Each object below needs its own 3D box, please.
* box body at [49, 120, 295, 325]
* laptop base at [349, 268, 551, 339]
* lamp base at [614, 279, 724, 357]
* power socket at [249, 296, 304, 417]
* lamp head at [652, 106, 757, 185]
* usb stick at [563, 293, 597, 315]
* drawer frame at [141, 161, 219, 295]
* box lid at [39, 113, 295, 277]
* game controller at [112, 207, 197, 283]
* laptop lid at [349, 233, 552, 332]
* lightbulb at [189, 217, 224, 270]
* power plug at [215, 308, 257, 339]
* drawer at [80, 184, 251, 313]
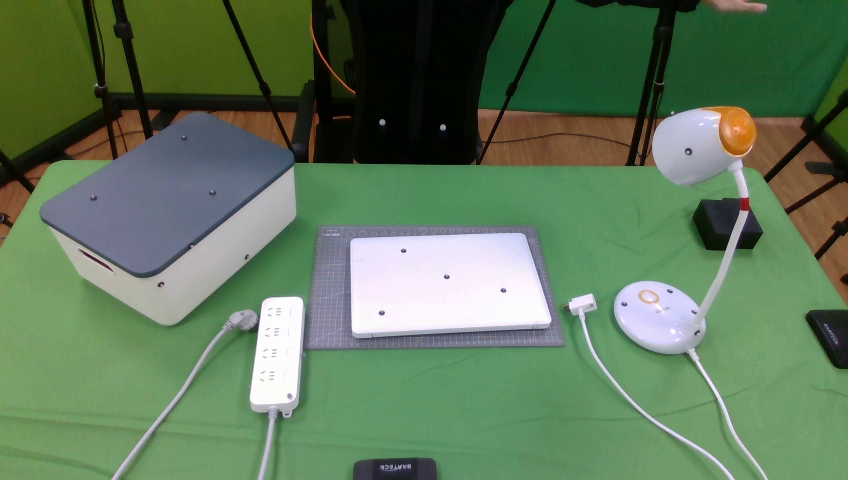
[{"bbox_3d":[-0.437,-0.046,1.110,0.253,0.161,0.363,24,49,19],"label":"box body"},{"bbox_3d":[0.039,0.080,1.125,0.355,0.023,0.234,-2,43,-6],"label":"laptop base"},{"bbox_3d":[0.436,0.090,1.034,0.161,0.181,0.178,-23,55,-23],"label":"lamp base"},{"bbox_3d":[-0.239,0.182,0.996,0.072,0.033,0.225,-2,47,-5],"label":"power socket"},{"bbox_3d":[0.410,-0.139,0.869,0.113,0.122,0.112,0,89,-19],"label":"lamp head"},{"bbox_3d":[0.280,0.118,1.093,0.059,0.021,0.027,-18,35,25],"label":"usb stick"},{"bbox_3d":[-0.435,-0.030,1.068,0.083,0.214,0.201,-11,12,-31],"label":"drawer frame"},{"bbox_3d":[-0.434,-0.096,1.056,0.262,0.015,0.370,25,48,18],"label":"box lid"},{"bbox_3d":[-0.463,0.001,1.039,0.097,0.052,0.154,3,46,5],"label":"game controller"},{"bbox_3d":[0.040,0.070,1.119,0.357,0.013,0.240,-1,44,-5],"label":"laptop lid"},{"bbox_3d":[-0.406,0.007,1.114,0.059,0.060,0.107,7,59,3],"label":"lightbulb"},{"bbox_3d":[-0.317,0.143,1.024,0.072,0.053,0.035,-32,58,-9],"label":"power plug"},{"bbox_3d":[-0.456,0.009,1.089,0.194,0.073,0.211,26,44,16],"label":"drawer"}]
